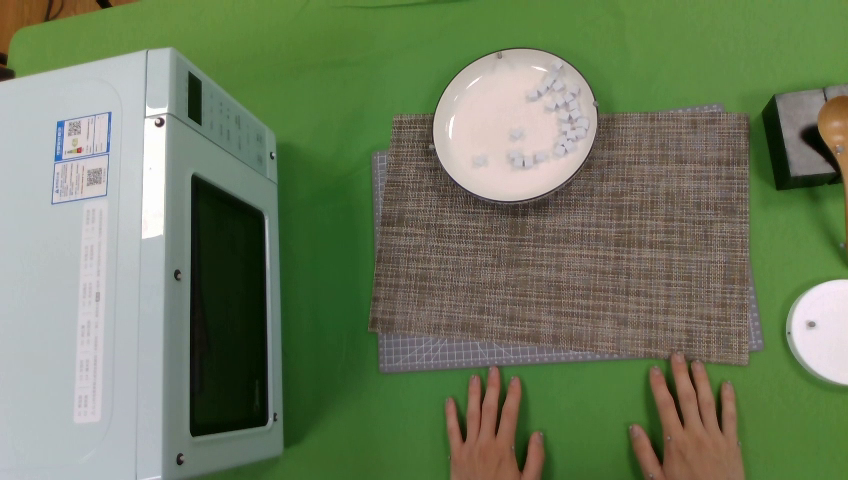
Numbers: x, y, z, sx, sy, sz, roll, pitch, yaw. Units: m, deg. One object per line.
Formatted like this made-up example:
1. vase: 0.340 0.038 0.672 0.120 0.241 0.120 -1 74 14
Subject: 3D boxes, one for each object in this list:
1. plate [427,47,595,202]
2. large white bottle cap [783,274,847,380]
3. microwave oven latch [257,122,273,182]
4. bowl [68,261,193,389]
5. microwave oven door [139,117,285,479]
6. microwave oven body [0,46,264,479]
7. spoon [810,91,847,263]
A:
1. plate: 0.110 -0.144 0.773 0.209 0.038 0.208 -3 77 12
2. large white bottle cap: 0.456 0.094 0.659 0.114 0.018 0.114 -2 78 11
3. microwave oven latch: -0.226 -0.119 0.829 0.030 0.030 0.079 -8 78 11
4. bowl: -0.341 0.106 0.740 0.151 0.077 0.150 -3 77 12
5. microwave oven door: -0.232 0.072 0.685 0.039 0.245 0.354 -8 77 12
6. microwave oven body: -0.377 0.052 0.727 0.325 0.262 0.439 -8 77 11
7. spoon: 0.451 -0.064 0.655 0.041 0.021 0.194 -12 98 8
